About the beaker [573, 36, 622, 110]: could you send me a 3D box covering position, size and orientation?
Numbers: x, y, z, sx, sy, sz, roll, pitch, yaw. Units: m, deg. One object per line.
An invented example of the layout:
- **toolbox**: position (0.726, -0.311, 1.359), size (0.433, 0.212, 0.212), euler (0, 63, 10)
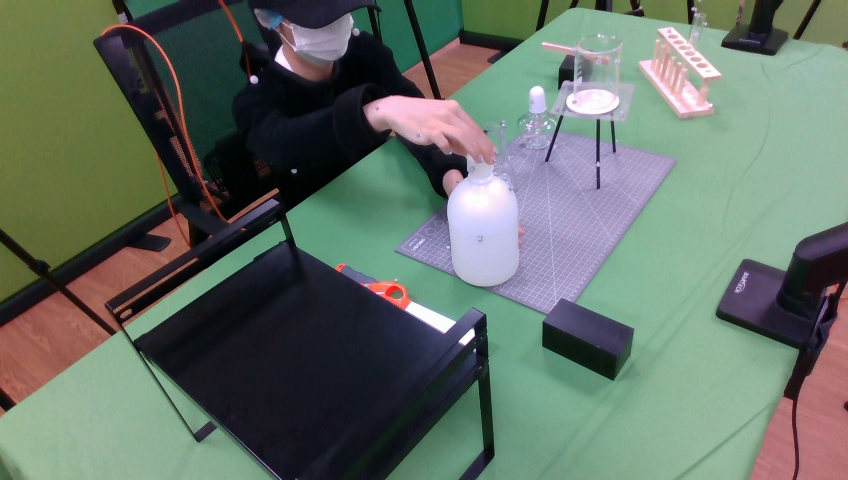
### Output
- **beaker**: position (0.283, -0.273, 0.990), size (0.073, 0.101, 0.084), euler (16, 46, 28)

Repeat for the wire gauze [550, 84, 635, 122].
- **wire gauze**: position (0.285, -0.234, 1.021), size (0.124, 0.011, 0.121), euler (8, 41, 23)

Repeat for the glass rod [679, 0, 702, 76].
- **glass rod**: position (0.543, -0.417, 1.233), size (0.008, 0.200, 0.008), euler (1, 39, 0)

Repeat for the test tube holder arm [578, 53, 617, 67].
- **test tube holder arm**: position (0.376, -0.393, 1.314), size (0.087, 0.015, 0.010), euler (26, 50, 32)

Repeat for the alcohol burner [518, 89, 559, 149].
- **alcohol burner**: position (0.218, -0.235, 1.149), size (0.078, 0.119, 0.077), euler (-5, 43, 5)

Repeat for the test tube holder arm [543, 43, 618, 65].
- **test tube holder arm**: position (0.345, -0.413, 1.340), size (0.177, 0.015, 0.013), euler (25, 50, 31)

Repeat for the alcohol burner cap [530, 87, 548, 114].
- **alcohol burner cap**: position (0.212, -0.262, 1.126), size (0.034, 0.048, 0.033), euler (-8, 36, 7)

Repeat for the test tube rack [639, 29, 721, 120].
- **test tube rack**: position (0.527, -0.351, 1.262), size (0.067, 0.085, 0.241), euler (-8, 40, 1)

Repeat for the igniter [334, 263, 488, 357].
- **igniter**: position (-0.030, 0.095, 0.872), size (0.274, 0.025, 0.057), euler (23, 60, 31)

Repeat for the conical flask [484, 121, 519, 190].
- **conical flask**: position (0.126, -0.145, 1.051), size (0.075, 0.122, 0.075), euler (-5, 41, 5)

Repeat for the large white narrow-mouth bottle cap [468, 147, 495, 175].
- **large white narrow-mouth bottle cap**: position (0.077, -0.105, 0.805), size (0.038, 0.024, 0.037), euler (-4, 40, 4)

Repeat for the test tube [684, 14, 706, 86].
- **test tube**: position (0.540, -0.378, 1.215), size (0.017, 0.151, 0.017), euler (-2, 44, 3)

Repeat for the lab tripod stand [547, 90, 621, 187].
- **lab tripod stand**: position (0.289, -0.184, 1.062), size (0.148, 0.132, 0.147), euler (-6, 41, 6)

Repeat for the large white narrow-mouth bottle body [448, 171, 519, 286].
- **large white narrow-mouth bottle body**: position (0.086, -0.031, 0.868), size (0.102, 0.195, 0.101), euler (-4, 40, 4)
